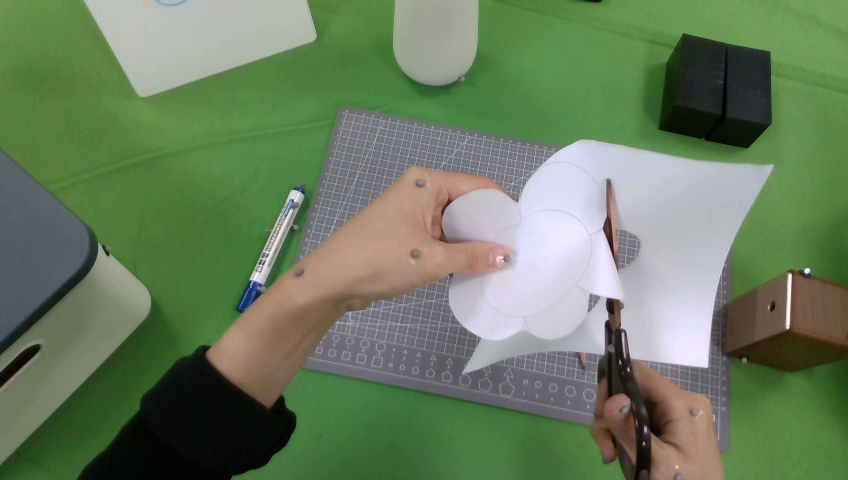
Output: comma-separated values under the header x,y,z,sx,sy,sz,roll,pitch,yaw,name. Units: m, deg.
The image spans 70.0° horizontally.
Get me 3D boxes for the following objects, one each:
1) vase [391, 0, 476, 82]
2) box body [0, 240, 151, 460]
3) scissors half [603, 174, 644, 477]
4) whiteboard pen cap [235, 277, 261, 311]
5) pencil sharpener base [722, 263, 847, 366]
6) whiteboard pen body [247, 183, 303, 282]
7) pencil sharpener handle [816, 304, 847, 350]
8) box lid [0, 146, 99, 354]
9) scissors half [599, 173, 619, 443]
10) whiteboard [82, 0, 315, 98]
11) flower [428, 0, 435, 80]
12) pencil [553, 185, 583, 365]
x,y,z,sx,sy,sz,roll,pitch,yaw,name
0.010,-0.259,0.636,0.098,0.201,0.097,0,67,0,vase
-0.464,0.018,0.530,0.362,0.161,0.253,36,72,11,box body
0.112,0.049,0.346,0.013,0.040,0.175,-5,89,2,scissors half
-0.174,0.053,0.602,0.018,0.018,0.033,16,64,5,whiteboard pen cap
0.343,0.073,0.566,0.077,0.107,0.061,15,68,1,pencil sharpener base
-0.157,0.001,0.625,0.017,0.017,0.140,17,67,5,whiteboard pen body
0.393,0.083,0.554,0.030,0.068,0.035,15,62,1,pencil sharpener handle
-0.464,-0.011,0.462,0.370,0.015,0.262,36,71,11,box lid
0.113,0.045,0.367,0.013,0.040,0.176,-4,112,7,scissors half
-0.272,-0.346,0.636,0.217,0.308,0.142,-22,51,-10,whiteboard
0.008,-0.304,0.564,0.044,0.365,0.038,4,51,3,flower
0.150,0.032,0.627,0.012,0.012,0.192,-2,71,-3,pencil
